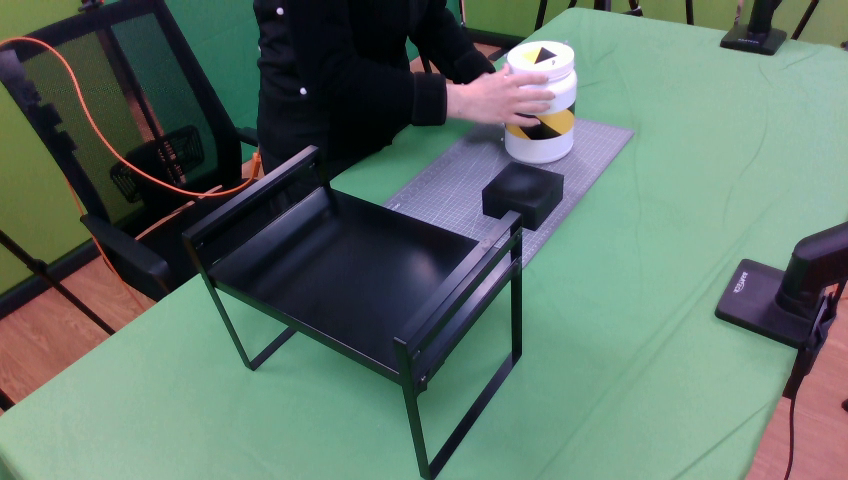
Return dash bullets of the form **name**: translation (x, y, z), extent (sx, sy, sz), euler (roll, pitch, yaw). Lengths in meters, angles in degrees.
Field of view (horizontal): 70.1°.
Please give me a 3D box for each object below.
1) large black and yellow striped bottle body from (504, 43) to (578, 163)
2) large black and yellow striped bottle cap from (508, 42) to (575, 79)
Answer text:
- **large black and yellow striped bottle body**: translation (0.213, -0.250, 1.107), extent (0.131, 0.185, 0.130), euler (-5, 41, 5)
- **large black and yellow striped bottle cap**: translation (0.204, -0.313, 1.051), extent (0.115, 0.019, 0.114), euler (-5, 39, 5)
